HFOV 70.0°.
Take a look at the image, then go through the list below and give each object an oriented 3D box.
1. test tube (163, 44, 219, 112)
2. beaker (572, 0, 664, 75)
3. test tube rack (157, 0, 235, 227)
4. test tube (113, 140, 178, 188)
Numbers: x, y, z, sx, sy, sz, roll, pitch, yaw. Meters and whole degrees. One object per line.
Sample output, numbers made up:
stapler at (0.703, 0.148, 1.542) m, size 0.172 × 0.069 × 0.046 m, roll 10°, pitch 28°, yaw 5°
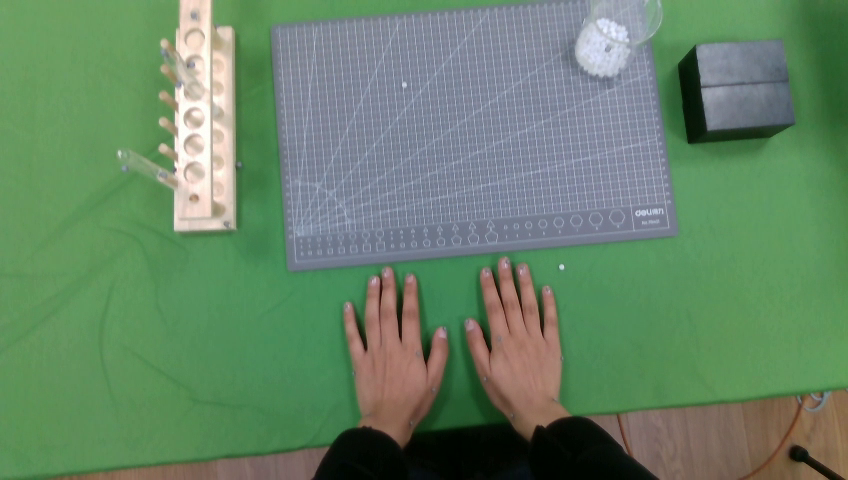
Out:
test tube at (-0.235, -0.161, 0.621) m, size 0.017 × 0.150 × 0.017 m, roll 1°, pitch 83°, yaw -5°
beaker at (0.207, -0.236, 0.674) m, size 0.084 × 0.100 × 0.074 m, roll 32°, pitch 83°, yaw 5°
test tube rack at (-0.255, -0.141, 0.668) m, size 0.067 × 0.085 × 0.241 m, roll -2°, pitch 83°, yaw -1°
test tube at (-0.271, -0.073, 0.614) m, size 0.017 × 0.151 × 0.017 m, roll 0°, pitch 82°, yaw 1°
